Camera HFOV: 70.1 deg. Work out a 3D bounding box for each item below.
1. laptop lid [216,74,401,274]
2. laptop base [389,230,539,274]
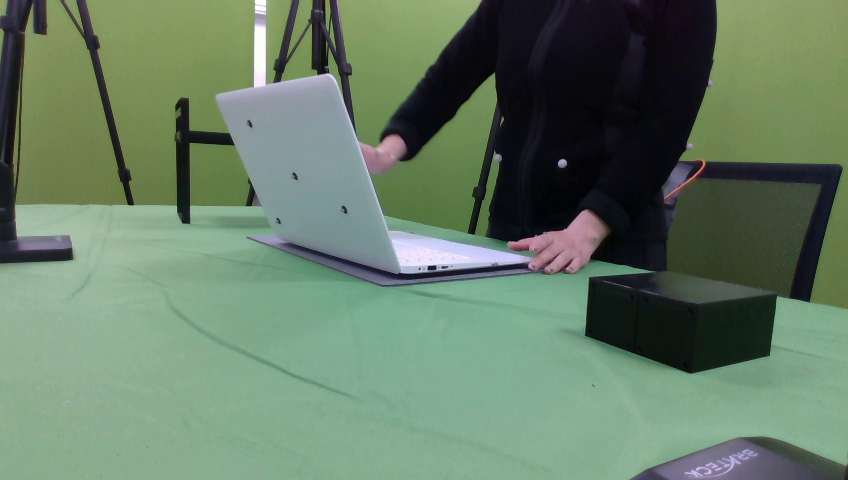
[{"bbox_3d":[-0.164,-0.085,0.780,0.013,0.242,0.355,-32,27,-30],"label":"laptop lid"},{"bbox_3d":[-0.037,0.014,0.895,0.237,0.023,0.352,1,7,-38],"label":"laptop base"}]
